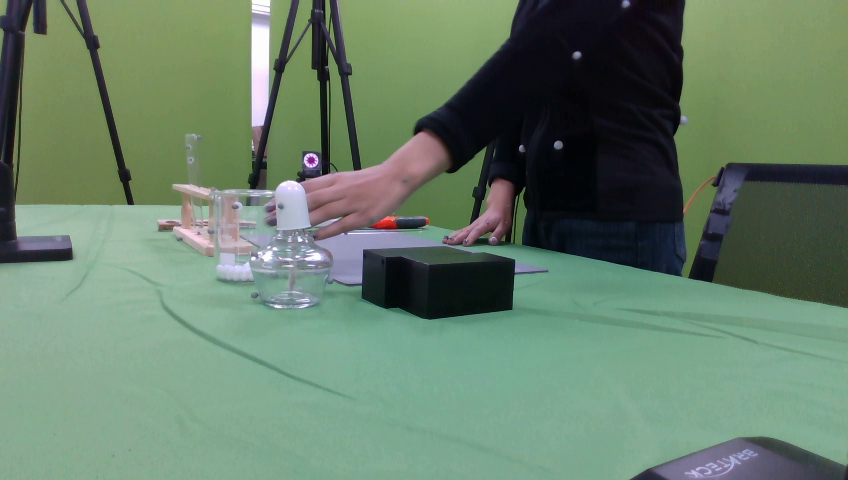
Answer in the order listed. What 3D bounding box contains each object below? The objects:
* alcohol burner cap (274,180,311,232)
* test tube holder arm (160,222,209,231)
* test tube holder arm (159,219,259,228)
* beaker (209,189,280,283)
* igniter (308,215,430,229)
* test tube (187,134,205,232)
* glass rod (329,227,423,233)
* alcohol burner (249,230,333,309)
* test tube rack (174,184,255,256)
[{"bbox_3d":[-0.125,-0.032,0.564,0.034,0.048,0.034,-5,6,1],"label":"alcohol burner cap"},{"bbox_3d":[-0.423,-0.024,1.076,0.088,0.015,0.010,-2,45,-38],"label":"test tube holder arm"},{"bbox_3d":[-0.390,-0.030,1.107,0.179,0.015,0.013,-3,45,-39],"label":"test tube holder arm"},{"bbox_3d":[-0.200,-0.006,0.677,0.084,0.100,0.074,3,7,8],"label":"beaker"},{"bbox_3d":[-0.109,-0.037,1.228,0.278,0.025,0.057,-3,-1,-35],"label":"igniter"},{"bbox_3d":[-0.350,-0.087,0.928,0.017,0.150,0.017,-3,5,1],"label":"test tube"},{"bbox_3d":[-0.087,-0.020,1.148,0.201,0.008,0.008,-3,8,-32],"label":"glass rod"},{"bbox_3d":[-0.125,0.004,0.568,0.078,0.119,0.078,2,9,0],"label":"alcohol burner"},{"bbox_3d":[-0.327,-0.036,0.928,0.067,0.085,0.241,-2,9,-32],"label":"test tube rack"}]
